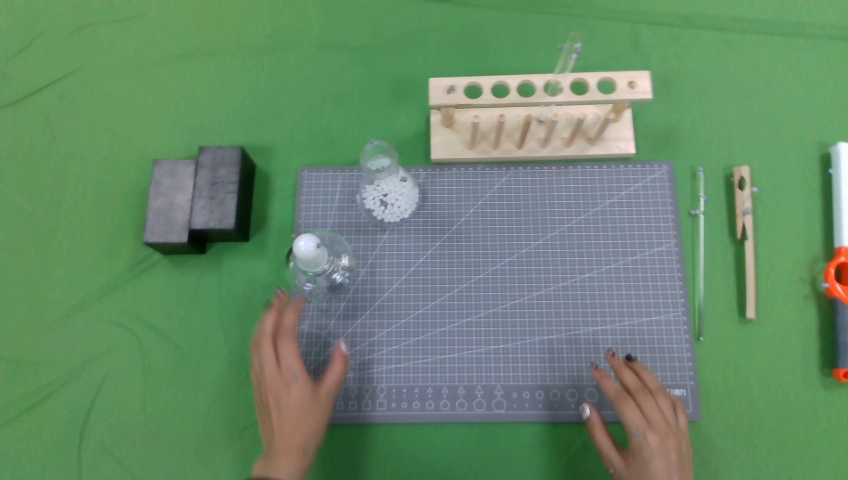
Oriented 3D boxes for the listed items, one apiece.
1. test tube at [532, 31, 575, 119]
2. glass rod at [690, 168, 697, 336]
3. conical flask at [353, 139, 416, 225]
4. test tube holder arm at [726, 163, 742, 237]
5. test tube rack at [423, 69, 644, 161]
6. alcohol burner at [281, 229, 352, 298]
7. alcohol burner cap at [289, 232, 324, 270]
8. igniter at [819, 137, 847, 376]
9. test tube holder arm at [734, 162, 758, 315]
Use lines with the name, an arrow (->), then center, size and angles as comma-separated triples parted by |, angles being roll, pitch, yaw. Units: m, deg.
test tube -> 0.138, -0.175, 0.661 | 0.017, 0.151, 0.017 | 0, 71, -1
glass rod -> 0.309, 0.011, 0.694 | 0.008, 0.008, 0.199 | 6, 77, 3
conical flask -> -0.049, -0.068, 0.665 | 0.075, 0.122, 0.075 | 0, 74, 2
test tube holder arm -> 0.362, -0.046, 0.706 | 0.010, 0.015, 0.087 | -9, 71, 37
test tube rack -> 0.122, -0.143, 0.703 | 0.242, 0.085, 0.066 | -2, 74, 1
alcohol burner -> -0.119, 0.020, 0.648 | 0.078, 0.120, 0.077 | -1, 73, 4
alcohol burner cap -> -0.121, 0.009, 0.613 | 0.034, 0.048, 0.033 | 1, 71, -2
igniter -> 0.470, 0.015, 0.679 | 0.057, 0.025, 0.275 | 10, 75, -6
test tube holder arm -> 0.366, -0.004, 0.690 | 0.013, 0.015, 0.177 | -11, 71, 36
